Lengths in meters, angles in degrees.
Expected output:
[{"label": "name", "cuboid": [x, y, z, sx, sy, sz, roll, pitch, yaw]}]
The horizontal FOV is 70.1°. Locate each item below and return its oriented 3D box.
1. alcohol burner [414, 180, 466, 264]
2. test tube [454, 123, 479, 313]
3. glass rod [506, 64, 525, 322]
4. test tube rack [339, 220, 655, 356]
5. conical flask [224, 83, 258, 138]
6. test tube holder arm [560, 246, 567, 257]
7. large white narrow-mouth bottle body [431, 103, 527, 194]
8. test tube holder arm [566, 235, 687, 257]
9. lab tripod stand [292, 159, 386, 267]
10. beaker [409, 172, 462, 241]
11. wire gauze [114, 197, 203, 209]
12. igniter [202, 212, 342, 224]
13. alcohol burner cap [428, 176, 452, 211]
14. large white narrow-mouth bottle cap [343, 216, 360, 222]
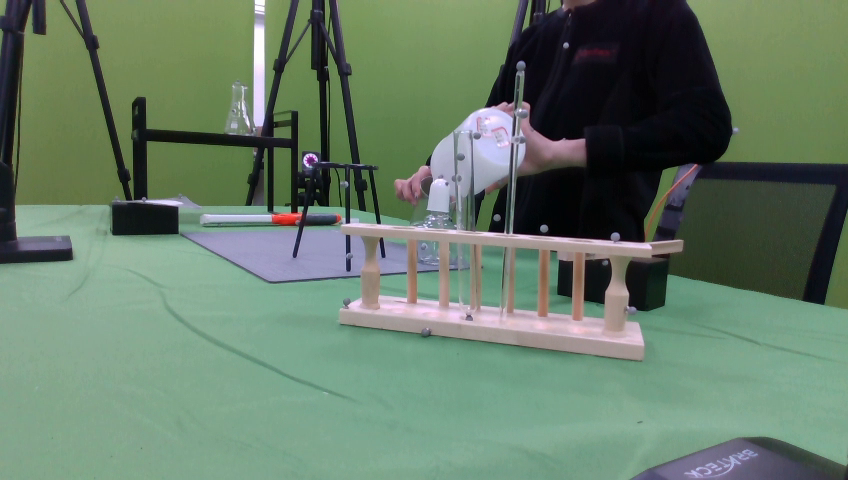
[{"label": "alcohol burner", "cuboid": [0.021, -0.028, 0.826, 0.078, 0.119, 0.078, 0, 6, 0]}, {"label": "test tube", "cuboid": [0.034, -0.016, 0.477, 0.017, 0.150, 0.017, -2, 9, 1]}, {"label": "glass rod", "cuboid": [0.069, -0.030, 0.458, 0.008, 0.199, 0.008, 0, 15, 0]}, {"label": "test tube rack", "cuboid": [0.056, 0.032, 0.495, 0.242, 0.085, 0.067, 4, 7, 15]}, {"label": "conical flask", "cuboid": [-0.422, -0.299, 1.395, 0.075, 0.122, 0.075, 2, 7, 0]}, {"label": "test tube holder arm", "cuboid": [0.173, 0.007, 0.611, 0.088, 0.015, 0.010, -3, 9, -30]}, {"label": "large white narrow-mouth bottle body", "cuboid": [0.068, -0.125, 0.925, 0.102, 0.101, 0.194, -1, -14, -25]}, {"label": "test tube holder arm", "cuboid": [0.215, 0.006, 0.630, 0.179, 0.015, 0.013, -3, 9, -31]}, {"label": "lab tripod stand", "cuboid": [-0.105, -0.039, 0.798, 0.148, 0.131, 0.148, 2, 5, 0]}, {"label": "beaker", "cuboid": [0.018, -0.053, 1.042, 0.074, 0.100, 0.083, 4, 42, -18]}, {"label": "wire gauze", "cuboid": [-0.447, -0.062, 1.015, 0.126, 0.011, 0.121, -2, 8, -31]}, {"label": "igniter", "cuboid": [-0.298, -0.044, 1.216, 0.278, 0.025, 0.057, -2, -2, -32]}, {"label": "alcohol burner cap", "cuboid": [0.023, -0.064, 0.822, 0.034, 0.048, 0.034, 7, 5, 0]}, {"label": "large white narrow-mouth bottle cap", "cuboid": [-0.148, -0.036, 1.234, 0.038, 0.024, 0.037, 2, 8, 0]}]
